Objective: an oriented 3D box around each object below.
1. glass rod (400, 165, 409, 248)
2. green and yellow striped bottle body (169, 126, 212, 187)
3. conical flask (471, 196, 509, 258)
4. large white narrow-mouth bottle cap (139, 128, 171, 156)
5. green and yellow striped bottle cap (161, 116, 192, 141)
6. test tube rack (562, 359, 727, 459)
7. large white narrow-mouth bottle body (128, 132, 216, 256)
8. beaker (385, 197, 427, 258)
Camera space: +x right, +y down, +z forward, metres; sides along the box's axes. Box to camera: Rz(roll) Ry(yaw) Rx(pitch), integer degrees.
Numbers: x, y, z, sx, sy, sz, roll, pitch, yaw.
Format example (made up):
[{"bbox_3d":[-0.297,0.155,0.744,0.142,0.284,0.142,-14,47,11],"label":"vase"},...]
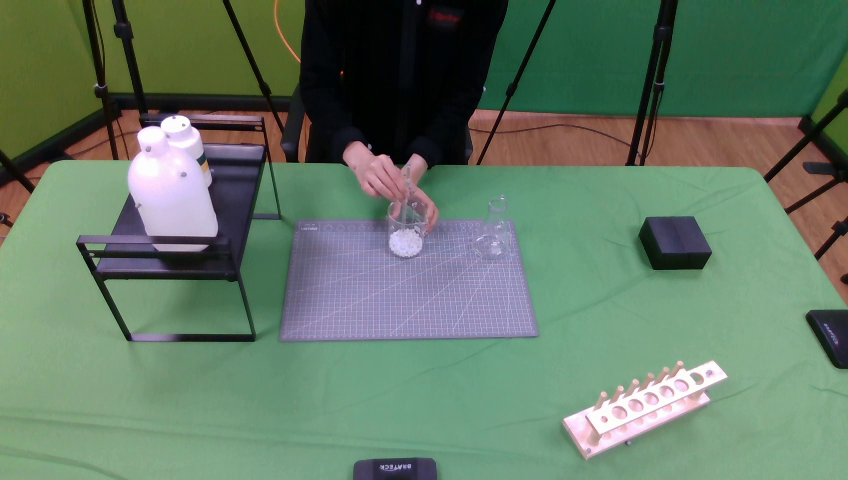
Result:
[{"bbox_3d":[-0.036,-0.057,1.102,0.008,0.200,0.008,3,45,-3],"label":"glass rod"},{"bbox_3d":[-0.389,-0.139,0.984,0.063,0.120,0.063,2,46,-2],"label":"green and yellow striped bottle body"},{"bbox_3d":[0.133,-0.028,1.161,0.075,0.122,0.075,2,46,-2],"label":"conical flask"},{"bbox_3d":[-0.358,-0.131,0.808,0.038,0.024,0.037,3,47,-3],"label":"large white narrow-mouth bottle cap"},{"bbox_3d":[-0.387,-0.174,0.946,0.045,0.020,0.045,3,44,-3],"label":"green and yellow striped bottle cap"},{"bbox_3d":[0.341,0.247,0.940,0.243,0.085,0.066,-16,49,-18],"label":"test tube rack"},{"bbox_3d":[-0.366,-0.073,0.872,0.102,0.195,0.101,3,47,-3],"label":"large white narrow-mouth bottle body"},{"bbox_3d":[-0.033,-0.020,1.157,0.083,0.101,0.074,26,50,18],"label":"beaker"}]
